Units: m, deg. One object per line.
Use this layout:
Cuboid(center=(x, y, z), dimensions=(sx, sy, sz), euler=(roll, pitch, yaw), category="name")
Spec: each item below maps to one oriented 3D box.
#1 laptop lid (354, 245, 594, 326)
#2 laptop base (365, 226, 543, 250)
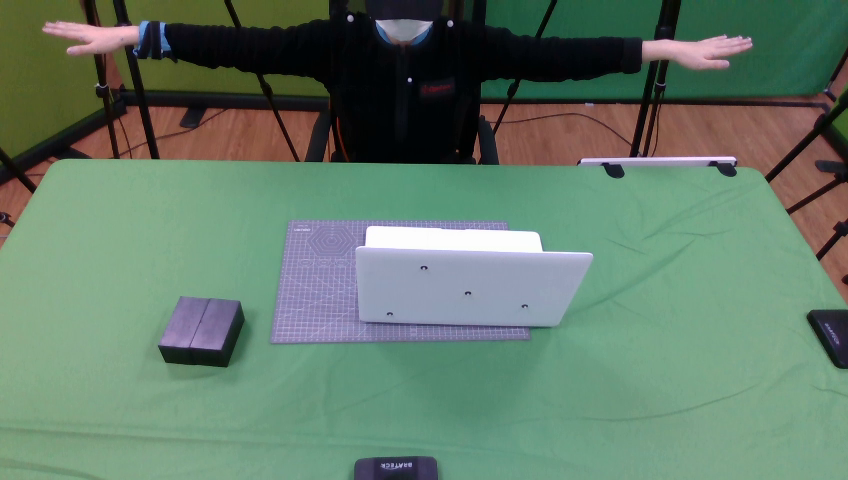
Cuboid(center=(0.069, 0.080, 0.964), dimensions=(0.357, 0.243, 0.013), euler=(2, 55, -4), category="laptop lid")
Cuboid(center=(0.061, 0.063, 1.144), dimensions=(0.354, 0.023, 0.234), euler=(2, 43, -3), category="laptop base")
